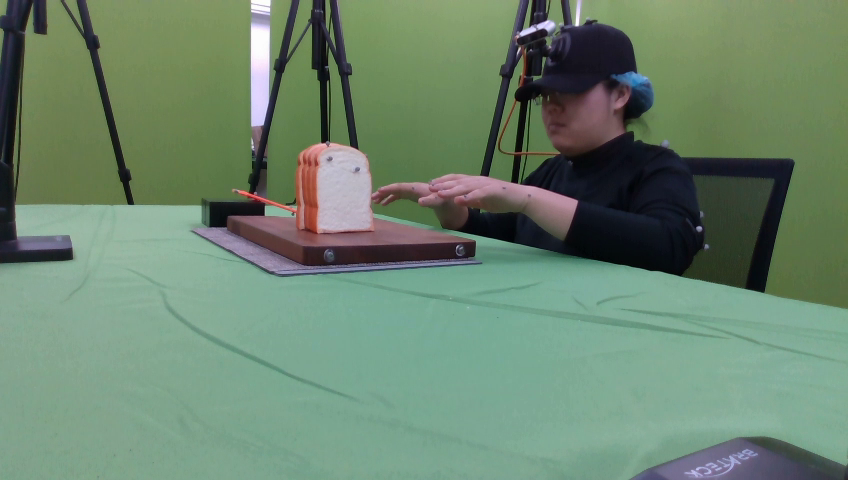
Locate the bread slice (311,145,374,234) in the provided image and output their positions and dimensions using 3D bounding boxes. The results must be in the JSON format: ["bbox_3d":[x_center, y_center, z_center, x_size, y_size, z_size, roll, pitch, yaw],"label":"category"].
[{"bbox_3d":[-0.127,-0.076,0.919,0.107,0.134,0.018,-8,8,-41],"label":"bread slice"}]

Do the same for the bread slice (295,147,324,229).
[{"bbox_3d":[-0.157,-0.082,0.959,0.105,0.131,0.019,-1,-2,-43],"label":"bread slice"}]

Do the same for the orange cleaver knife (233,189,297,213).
[{"bbox_3d":[-0.279,-0.066,1.219,0.212,0.012,0.077,19,-4,-21],"label":"orange cleaver knife"}]
